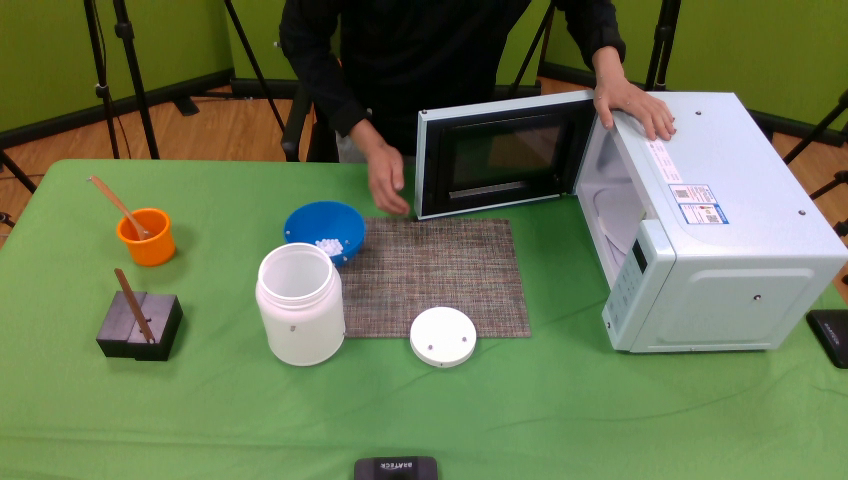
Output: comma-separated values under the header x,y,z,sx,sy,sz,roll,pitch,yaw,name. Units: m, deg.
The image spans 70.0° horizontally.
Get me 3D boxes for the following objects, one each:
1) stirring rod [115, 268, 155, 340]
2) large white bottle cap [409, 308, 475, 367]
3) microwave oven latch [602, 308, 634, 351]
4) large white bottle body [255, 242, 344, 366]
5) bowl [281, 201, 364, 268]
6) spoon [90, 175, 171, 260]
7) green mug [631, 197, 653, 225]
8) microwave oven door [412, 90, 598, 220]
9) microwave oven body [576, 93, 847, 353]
x,y,z,sx,sy,sz,roll,pitch,yaw,name
-0.479,0.103,0.999,0.014,0.006,0.175,7,32,-49,stirring rod
0.031,0.166,1.041,0.115,0.018,0.114,2,47,-2,large white bottle cap
0.332,0.153,1.044,0.030,0.029,0.078,-1,45,-4,microwave oven latch
-0.196,0.102,0.967,0.131,0.185,0.130,2,49,-2,large white bottle body
-0.187,0.005,1.138,0.151,0.077,0.150,3,46,-3,bowl
-0.539,-0.042,1.111,0.021,0.194,0.041,-13,27,53,spoon
0.456,-0.058,1.156,0.125,0.105,0.092,-11,46,-10,green mug
0.155,-0.167,1.200,0.356,0.245,0.039,-10,47,-14,microwave oven door
0.475,-0.041,1.109,0.326,0.261,0.438,-1,45,-4,microwave oven body
